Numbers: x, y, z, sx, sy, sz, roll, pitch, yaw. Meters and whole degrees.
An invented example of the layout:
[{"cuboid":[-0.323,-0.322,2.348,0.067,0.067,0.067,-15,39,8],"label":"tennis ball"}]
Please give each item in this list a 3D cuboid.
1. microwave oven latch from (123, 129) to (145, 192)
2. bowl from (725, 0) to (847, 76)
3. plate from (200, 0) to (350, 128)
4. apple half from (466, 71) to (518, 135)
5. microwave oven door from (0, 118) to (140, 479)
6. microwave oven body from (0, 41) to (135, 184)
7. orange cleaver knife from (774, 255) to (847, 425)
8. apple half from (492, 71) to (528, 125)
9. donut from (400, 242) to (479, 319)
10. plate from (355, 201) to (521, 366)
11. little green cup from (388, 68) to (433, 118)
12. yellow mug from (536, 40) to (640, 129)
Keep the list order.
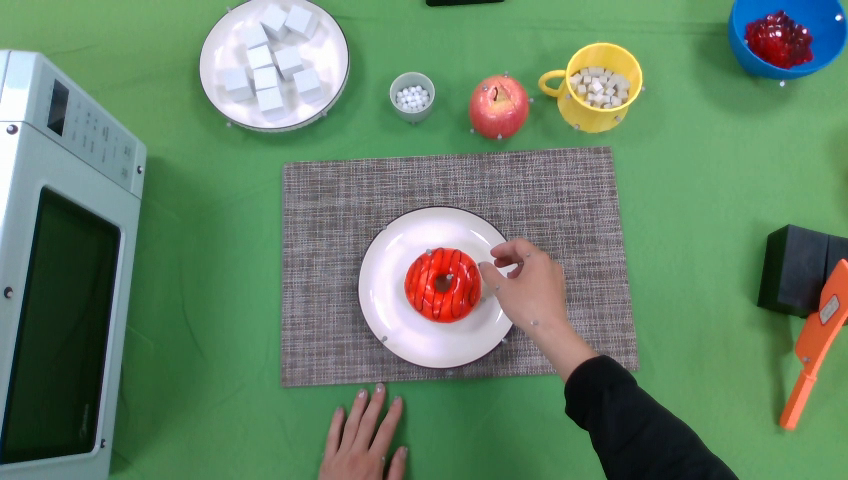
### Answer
[{"cuboid":[-0.389,-0.105,0.798,0.030,0.029,0.079,2,77,1],"label":"microwave oven latch"},{"cuboid":[0.476,-0.281,0.825,0.151,0.077,0.150,0,77,2],"label":"bowl"},{"cuboid":[-0.205,-0.249,0.849,0.208,0.039,0.206,0,76,1],"label":"plate"},{"cuboid":[0.085,-0.175,0.809,0.053,0.075,0.080,-29,81,-1],"label":"apple half"},{"cuboid":[-0.396,0.083,0.649,0.039,0.245,0.354,0,76,1],"label":"microwave oven door"},{"cuboid":[-0.541,0.043,0.666,0.326,0.261,0.439,0,77,1],"label":"microwave oven body"},{"cuboid":[0.462,0.120,0.723,0.012,0.077,0.212,16,109,7],"label":"orange cleaver knife"},{"cuboid":[0.119,-0.194,0.812,0.033,0.081,0.081,-30,77,-1],"label":"apple half"},{"cuboid":[0.020,0.051,0.758,0.099,0.048,0.098,0,78,2],"label":"donut"},{"cuboid":[0.017,0.054,0.769,0.209,0.038,0.208,0,77,1],"label":"plate"},{"cuboid":[-0.018,-0.200,0.834,0.061,0.039,0.061,0,76,1],"label":"little green cup"},{"cuboid":[0.217,-0.211,0.819,0.131,0.064,0.099,8,76,4],"label":"yellow mug"}]
